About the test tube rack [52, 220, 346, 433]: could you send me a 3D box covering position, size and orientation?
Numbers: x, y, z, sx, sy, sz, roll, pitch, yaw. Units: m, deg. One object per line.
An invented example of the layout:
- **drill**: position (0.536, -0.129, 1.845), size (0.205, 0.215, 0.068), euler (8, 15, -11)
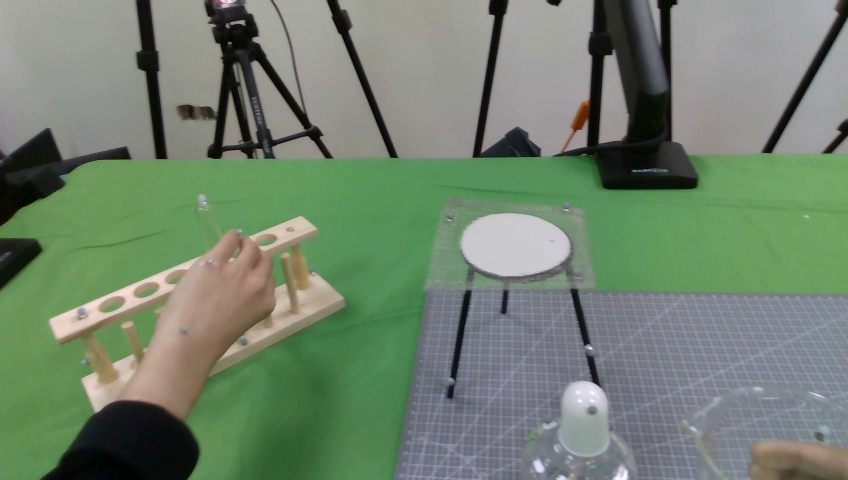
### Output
- **test tube rack**: position (-0.200, 0.073, 0.576), size (0.243, 0.086, 0.066), euler (-26, 39, -29)

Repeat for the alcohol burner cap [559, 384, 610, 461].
- **alcohol burner cap**: position (0.103, 0.112, 0.384), size (0.034, 0.048, 0.033), euler (-5, 33, 4)

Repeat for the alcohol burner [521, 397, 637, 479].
- **alcohol burner**: position (0.104, 0.142, 0.404), size (0.078, 0.120, 0.077), euler (-3, 36, 2)

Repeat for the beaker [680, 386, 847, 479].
- **beaker**: position (0.159, 0.128, 0.277), size (0.083, 0.101, 0.074), euler (11, 33, 33)

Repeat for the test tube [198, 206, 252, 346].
- **test tube**: position (-0.179, 0.036, 0.547), size (0.017, 0.151, 0.017), euler (-2, 33, 2)

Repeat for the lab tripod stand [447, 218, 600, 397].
- **lab tripod stand**: position (0.082, 0.059, 0.513), size (0.148, 0.132, 0.147), euler (-2, 33, 2)

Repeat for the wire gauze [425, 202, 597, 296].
- **wire gauze**: position (0.069, 0.005, 0.475), size (0.121, 0.011, 0.124), euler (2, 35, 9)
